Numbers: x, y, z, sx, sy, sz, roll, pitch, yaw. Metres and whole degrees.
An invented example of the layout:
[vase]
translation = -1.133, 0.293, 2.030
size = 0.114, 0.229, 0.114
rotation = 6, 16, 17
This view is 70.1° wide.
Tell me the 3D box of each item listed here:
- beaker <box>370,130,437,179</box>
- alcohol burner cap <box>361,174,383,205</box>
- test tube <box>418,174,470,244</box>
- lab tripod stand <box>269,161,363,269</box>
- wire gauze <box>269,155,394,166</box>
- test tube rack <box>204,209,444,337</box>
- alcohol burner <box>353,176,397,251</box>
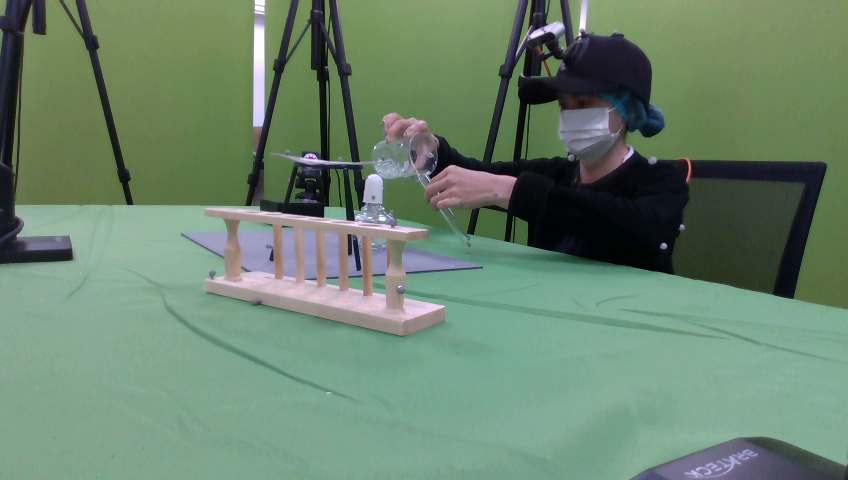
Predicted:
[beaker]
translation = -0.038, -0.144, 1.063
size = 0.100, 0.084, 0.074
rotation = -2, -6, 41
[alcohol burner cap]
translation = -0.080, -0.078, 0.944
size = 0.034, 0.048, 0.034
rotation = 5, 8, 0
[test tube]
translation = 0.033, -0.052, 1.001
size = 0.017, 0.017, 0.149
rotation = -5, 53, -46
[lab tripod stand]
translation = -0.125, -0.036, 0.794
size = 0.148, 0.131, 0.148
rotation = 5, 7, 0
[wire gauze]
translation = -0.121, -0.102, 0.785
size = 0.122, 0.011, 0.124
rotation = -3, 10, -39
[test tube rack]
translation = -0.100, 0.021, 0.565
size = 0.241, 0.085, 0.067
rotation = 7, 9, 32
[alcohol burner]
translation = -0.082, -0.043, 0.950
size = 0.078, 0.119, 0.078
rotation = 1, 8, 0
